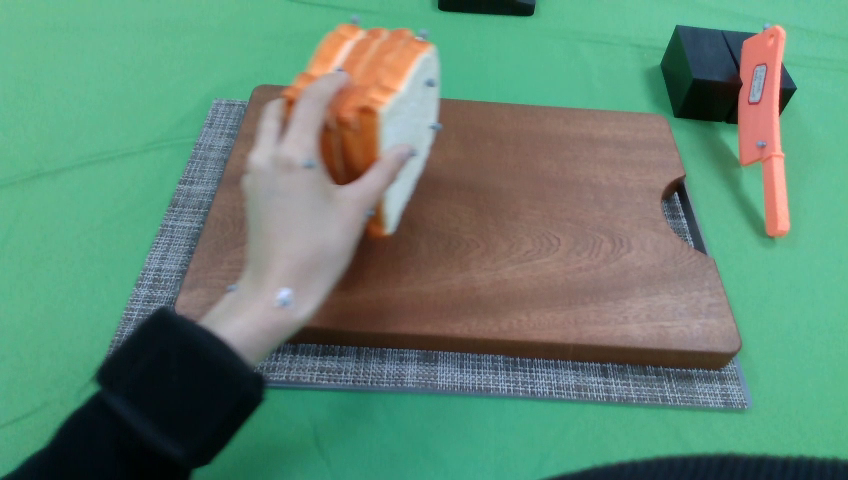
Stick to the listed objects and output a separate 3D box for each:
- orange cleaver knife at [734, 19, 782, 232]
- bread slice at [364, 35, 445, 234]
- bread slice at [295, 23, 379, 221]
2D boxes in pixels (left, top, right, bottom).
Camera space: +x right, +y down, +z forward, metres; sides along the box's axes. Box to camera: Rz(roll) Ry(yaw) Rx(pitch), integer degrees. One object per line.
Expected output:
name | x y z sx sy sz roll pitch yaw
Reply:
orange cleaver knife | 0.311 -0.106 0.568 0.012 0.077 0.210 5 79 -1
bread slice | -0.010 -0.083 0.428 0.019 0.106 0.130 14 45 11
bread slice | -0.059 -0.091 0.438 0.018 0.108 0.133 12 43 6
